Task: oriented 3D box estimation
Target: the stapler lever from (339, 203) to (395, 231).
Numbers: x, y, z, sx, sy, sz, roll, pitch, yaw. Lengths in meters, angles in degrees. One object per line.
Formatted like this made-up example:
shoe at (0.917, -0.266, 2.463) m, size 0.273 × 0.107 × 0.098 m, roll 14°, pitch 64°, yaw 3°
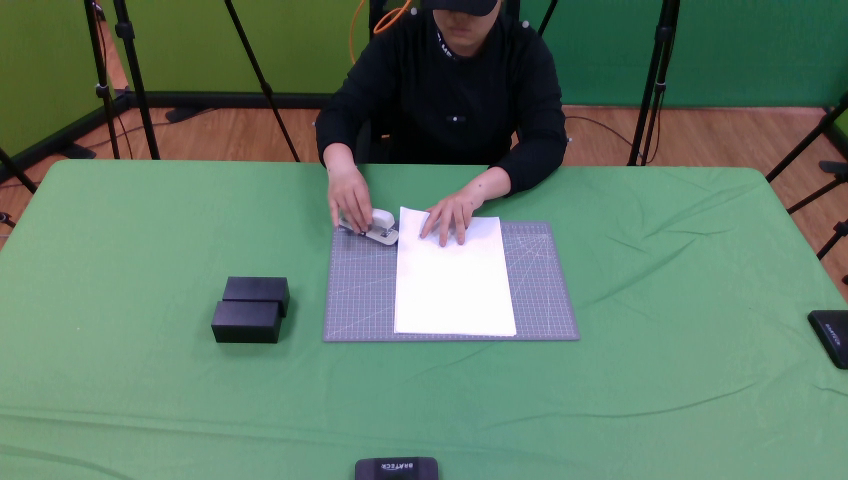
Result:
stapler lever at (-0.111, -0.052, 1.188) m, size 0.117 × 0.040 × 0.027 m, roll 21°, pitch 41°, yaw 21°

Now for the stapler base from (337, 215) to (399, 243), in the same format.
stapler base at (-0.111, -0.032, 1.204) m, size 0.130 × 0.024 × 0.041 m, roll 20°, pitch 40°, yaw 21°
